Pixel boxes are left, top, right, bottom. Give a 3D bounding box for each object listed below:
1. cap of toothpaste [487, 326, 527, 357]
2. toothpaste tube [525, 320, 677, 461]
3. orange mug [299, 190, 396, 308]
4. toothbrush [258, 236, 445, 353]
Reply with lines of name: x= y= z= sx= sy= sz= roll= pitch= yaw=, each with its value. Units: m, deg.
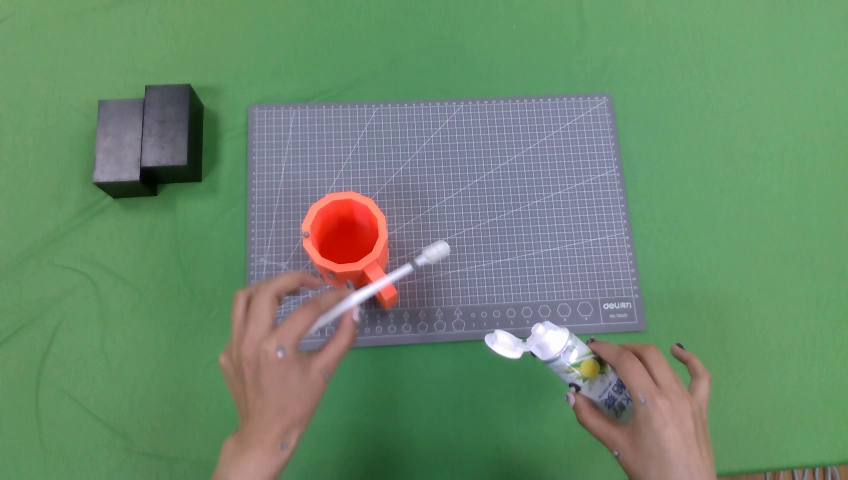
cap of toothpaste: x=0.071 y=0.085 z=0.516 sx=0.037 sy=0.037 sz=0.011 roll=23 pitch=112 yaw=3
toothpaste tube: x=0.151 y=0.127 z=0.527 sx=0.166 sy=0.034 sz=0.055 roll=40 pitch=87 yaw=-11
orange mug: x=-0.073 y=0.016 z=0.648 sx=0.083 sy=0.101 sz=0.125 roll=-37 pitch=75 yaw=-11
toothbrush: x=-0.061 y=0.046 z=0.514 sx=0.182 sy=0.017 sz=0.014 roll=-31 pitch=83 yaw=-3
